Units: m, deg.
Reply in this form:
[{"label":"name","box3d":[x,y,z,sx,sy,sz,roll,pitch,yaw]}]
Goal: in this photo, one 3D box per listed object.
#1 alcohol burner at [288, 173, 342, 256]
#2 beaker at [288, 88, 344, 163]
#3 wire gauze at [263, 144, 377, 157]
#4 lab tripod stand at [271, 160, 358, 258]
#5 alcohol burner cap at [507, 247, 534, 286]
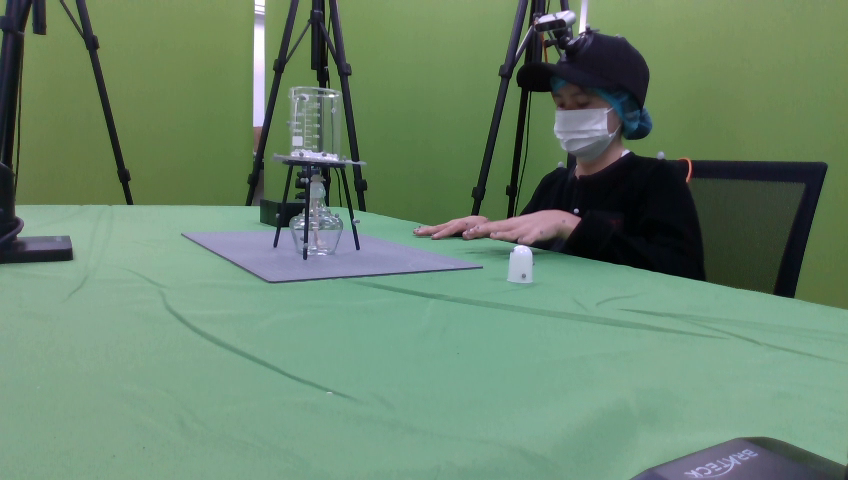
[{"label":"alcohol burner","box3d":[-0.157,-0.037,0.871,0.078,0.119,0.078,1,6,0]},{"label":"beaker","box3d":[-0.158,-0.160,0.859,0.084,0.100,0.074,5,6,20]},{"label":"wire gauze","box3d":[-0.151,-0.128,0.869,0.122,0.011,0.124,-5,5,-35]},{"label":"lab tripod stand","box3d":[-0.159,-0.048,0.876,0.148,0.131,0.148,3,5,0]},{"label":"alcohol burner cap","box3d":[0.119,0.032,0.740,0.034,0.048,0.034,2,6,0]}]
